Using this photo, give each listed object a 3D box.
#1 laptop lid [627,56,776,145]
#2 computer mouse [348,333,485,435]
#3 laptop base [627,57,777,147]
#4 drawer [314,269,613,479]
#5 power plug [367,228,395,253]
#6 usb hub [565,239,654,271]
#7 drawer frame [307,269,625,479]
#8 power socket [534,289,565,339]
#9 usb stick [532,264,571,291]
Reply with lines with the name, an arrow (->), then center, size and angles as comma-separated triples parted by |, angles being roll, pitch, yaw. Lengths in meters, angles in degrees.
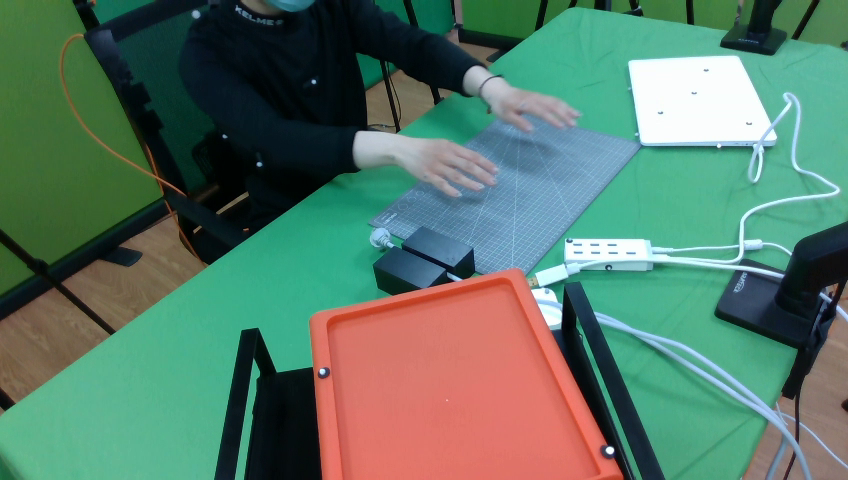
laptop lid -> 0.543, -0.291, 1.221 | 0.241, 0.013, 0.356 | 2, 41, 14
computer mouse -> -0.006, 0.122, 0.527 | 0.117, 0.041, 0.063 | 20, 40, 14
laptop base -> 0.546, -0.282, 1.229 | 0.235, 0.023, 0.353 | -1, 41, 13
drawer -> 0.018, 0.135, 0.490 | 0.195, 0.073, 0.210 | -11, 41, -6
power plug -> -0.066, 0.010, 0.956 | 0.035, 0.053, 0.072 | -31, 56, 3
usb hub -> 0.275, 0.022, 0.906 | 0.125, 0.025, 0.049 | 1, 41, 9
drawer frame -> 0.019, 0.135, 0.487 | 0.202, 0.083, 0.212 | -12, 41, -7
power socket -> 0.081, 0.112, 0.822 | 0.227, 0.033, 0.072 | -7, 41, 0
usb stick -> 0.181, 0.058, 0.876 | 0.059, 0.027, 0.021 | -31, 88, -6
